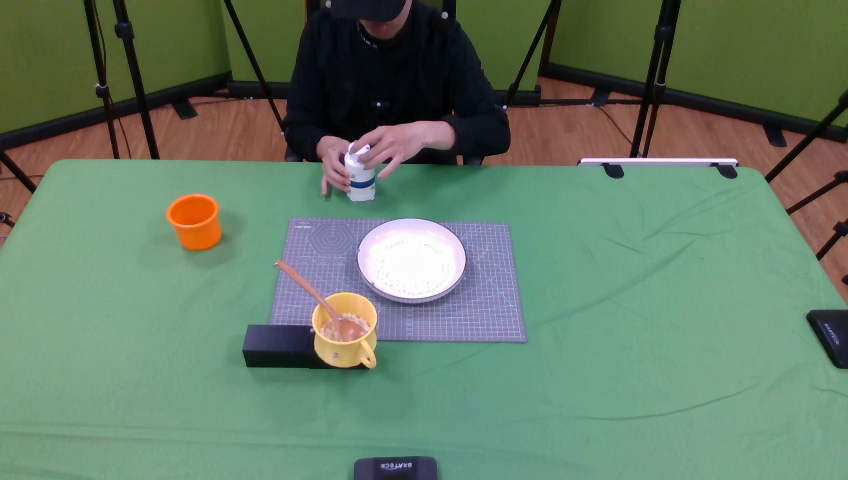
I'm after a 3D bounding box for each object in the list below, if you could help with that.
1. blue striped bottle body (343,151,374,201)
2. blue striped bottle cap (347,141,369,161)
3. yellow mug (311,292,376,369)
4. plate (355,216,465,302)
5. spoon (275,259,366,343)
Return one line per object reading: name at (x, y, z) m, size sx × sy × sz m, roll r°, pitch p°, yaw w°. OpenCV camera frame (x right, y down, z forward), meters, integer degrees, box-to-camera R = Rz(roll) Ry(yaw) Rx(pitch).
blue striped bottle body at (-0.136, -0.145, 1.257) m, size 0.063 × 0.121 × 0.062 m, roll 2°, pitch 46°, yaw -2°
blue striped bottle cap at (-0.133, -0.180, 1.220) m, size 0.044 × 0.021 × 0.044 m, roll 1°, pitch 44°, yaw -1°
yellow mug at (-0.115, 0.150, 0.945) m, size 0.100 × 0.064 × 0.130 m, roll -29°, pitch 57°, yaw -28°
plate at (-0.027, 0.039, 1.144) m, size 0.208 × 0.039 × 0.206 m, roll 2°, pitch 46°, yaw -2°
spoon at (-0.161, 0.098, 0.946) m, size 0.194 × 0.021 × 0.041 m, roll 48°, pitch 56°, yaw -5°
